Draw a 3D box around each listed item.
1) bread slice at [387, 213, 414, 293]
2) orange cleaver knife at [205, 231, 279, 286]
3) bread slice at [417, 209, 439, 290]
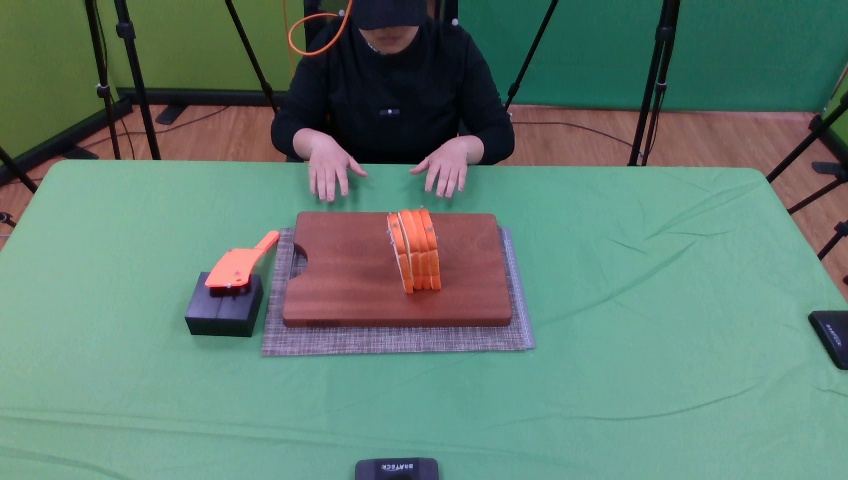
[{"bbox_3d":[-0.043,0.016,1.067,0.019,0.132,0.104,-15,46,-4],"label":"bread slice"},{"bbox_3d":[-0.328,0.031,1.109,0.077,0.012,0.210,5,27,7],"label":"orange cleaver knife"},{"bbox_3d":[0.007,0.012,1.073,0.018,0.135,0.106,-11,51,-7],"label":"bread slice"}]
